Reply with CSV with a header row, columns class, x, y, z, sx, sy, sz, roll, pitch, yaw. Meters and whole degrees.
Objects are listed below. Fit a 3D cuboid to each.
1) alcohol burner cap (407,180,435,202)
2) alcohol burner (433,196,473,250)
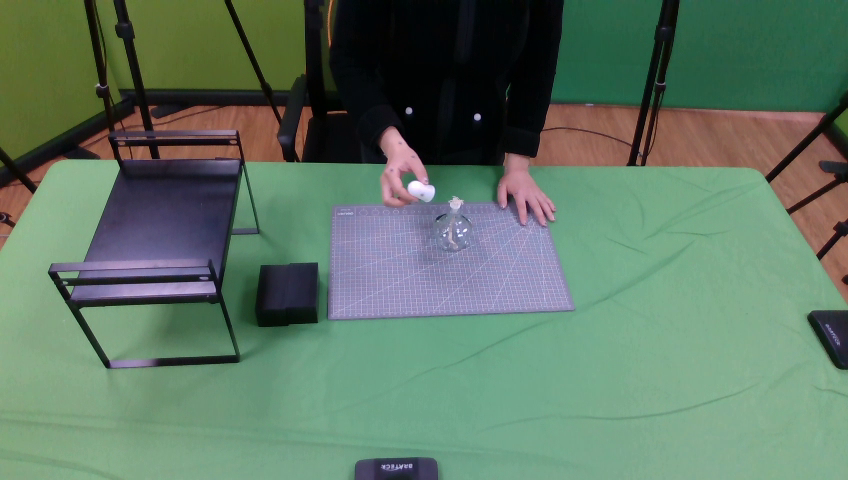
class,x,y,z,sx,sy,sz,roll,pitch,yaw
alcohol burner cap,-0.008,-0.088,1.067,0.048,0.034,0.033,18,34,-39
alcohol burner,0.058,-0.038,1.169,0.078,0.119,0.077,3,45,-3
